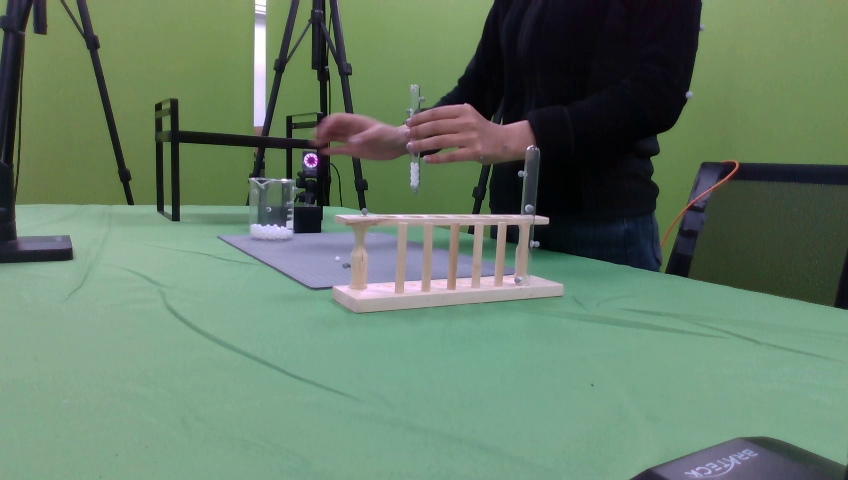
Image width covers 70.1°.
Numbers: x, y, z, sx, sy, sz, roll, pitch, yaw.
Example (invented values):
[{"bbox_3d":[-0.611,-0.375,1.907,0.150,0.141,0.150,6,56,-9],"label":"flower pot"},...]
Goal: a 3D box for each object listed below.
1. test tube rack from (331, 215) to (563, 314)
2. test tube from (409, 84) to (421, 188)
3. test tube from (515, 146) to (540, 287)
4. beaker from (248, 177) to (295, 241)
[{"bbox_3d":[0.031,0.019,0.625,0.243,0.085,0.066,-1,8,-28],"label":"test tube rack"},{"bbox_3d":[-0.014,-0.150,0.876,0.017,0.150,0.017,0,2,0],"label":"test tube"},{"bbox_3d":[0.110,-0.024,0.638,0.017,0.150,0.017,3,6,0],"label":"test tube"},{"bbox_3d":[-0.252,-0.051,0.992,0.074,0.100,0.084,3,9,6],"label":"beaker"}]
